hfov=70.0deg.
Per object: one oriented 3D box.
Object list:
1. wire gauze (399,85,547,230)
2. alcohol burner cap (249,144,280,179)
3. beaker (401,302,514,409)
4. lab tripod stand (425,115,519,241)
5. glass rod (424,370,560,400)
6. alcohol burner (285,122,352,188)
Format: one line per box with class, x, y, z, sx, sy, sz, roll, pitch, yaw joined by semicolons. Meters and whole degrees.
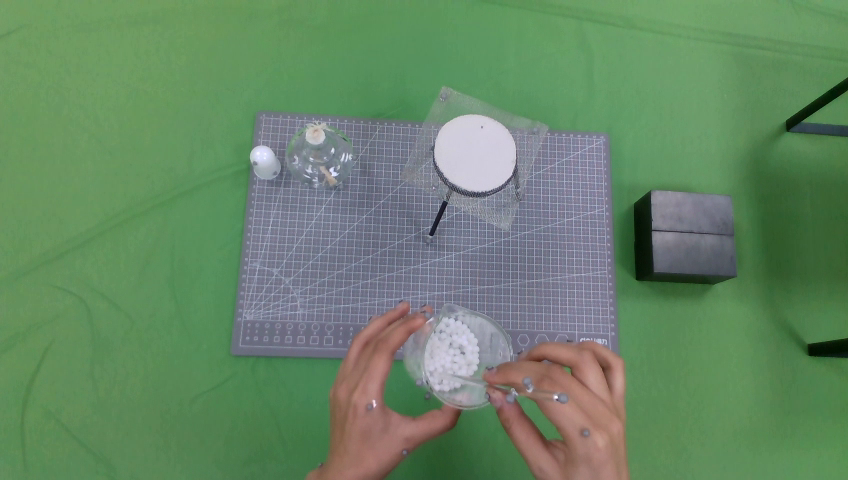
wire gauze;0.052;-0.089;0.622;0.125;0.011;0.121;24;75;1
alcohol burner cap;-0.190;-0.095;0.717;0.034;0.048;0.033;1;75;-4
beaker;0.021;0.093;0.506;0.074;0.100;0.084;-20;87;-15
lab tripod stand;0.050;-0.074;0.687;0.148;0.132;0.147;2;74;-5
glass rod;0.040;0.104;0.446;0.008;0.199;0.008;3;81;-22
alcohol burner;-0.121;-0.104;0.689;0.078;0.119;0.077;2;75;-6
